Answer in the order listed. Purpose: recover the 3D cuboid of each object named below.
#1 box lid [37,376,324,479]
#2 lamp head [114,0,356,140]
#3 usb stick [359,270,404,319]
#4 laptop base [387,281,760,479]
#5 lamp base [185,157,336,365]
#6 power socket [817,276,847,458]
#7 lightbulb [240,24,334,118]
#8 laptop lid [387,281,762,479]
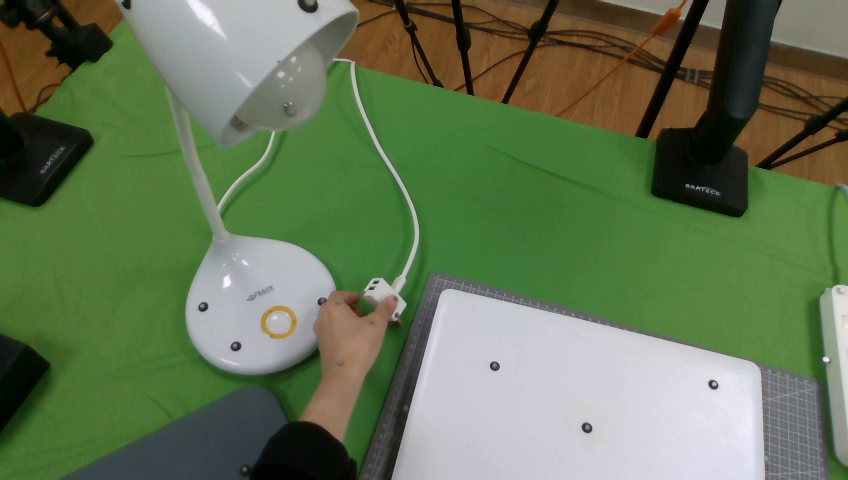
[{"bbox_3d":[-0.181,0.318,0.513,0.263,0.015,0.368,-26,64,-18],"label":"box lid"},{"bbox_3d":[-0.118,-0.134,0.340,0.123,0.112,0.112,43,62,-5],"label":"lamp head"},{"bbox_3d":[-0.042,0.061,0.661,0.021,0.059,0.027,-6,39,46],"label":"usb stick"},{"bbox_3d":[0.160,0.184,0.617,0.354,0.023,0.234,13,62,4],"label":"laptop base"},{"bbox_3d":[-0.183,0.012,0.603,0.178,0.182,0.160,39,63,22],"label":"lamp base"},{"bbox_3d":[0.478,0.137,0.660,0.072,0.033,0.225,15,58,4],"label":"power socket"},{"bbox_3d":[-0.089,-0.122,0.336,0.059,0.059,0.108,-22,101,-16],"label":"lightbulb"},{"bbox_3d":[0.160,0.179,0.605,0.356,0.013,0.240,14,61,5],"label":"laptop lid"}]
